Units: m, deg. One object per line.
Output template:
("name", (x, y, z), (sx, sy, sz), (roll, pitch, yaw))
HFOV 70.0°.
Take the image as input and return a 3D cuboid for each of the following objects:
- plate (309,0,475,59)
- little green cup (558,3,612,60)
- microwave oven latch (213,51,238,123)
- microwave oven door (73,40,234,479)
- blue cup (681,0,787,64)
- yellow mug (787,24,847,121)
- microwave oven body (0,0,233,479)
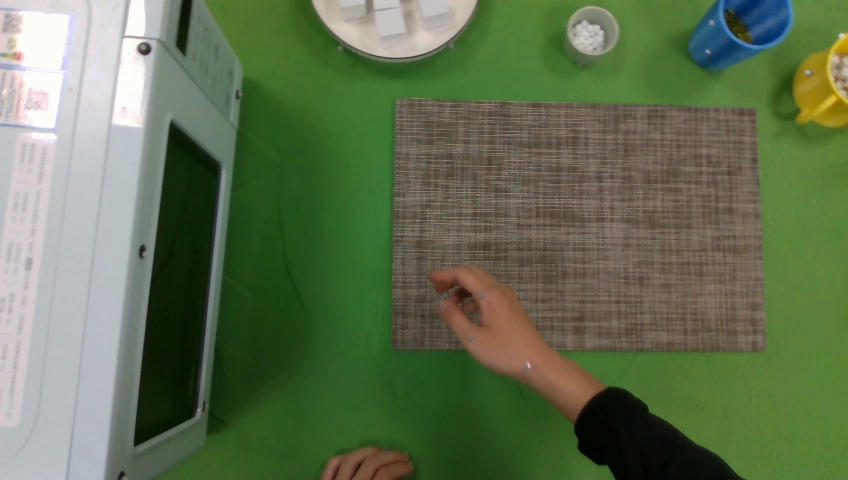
("plate", (-0.039, -0.315, 0.732), (0.208, 0.039, 0.207), (0, 84, -3))
("little green cup", (0.194, -0.252, 0.739), (0.061, 0.038, 0.061), (0, 84, -3))
("microwave oven latch", (-0.230, -0.175, 0.689), (0.030, 0.029, 0.079), (5, 85, -3))
("microwave oven door", (-0.240, 0.032, 0.567), (0.039, 0.244, 0.355), (3, 84, -2))
("blue cup", (0.356, -0.254, 0.716), (0.093, 0.100, 0.092), (0, 86, -4))
("yellow mug", (0.499, -0.193, 0.735), (0.131, 0.064, 0.100), (-41, 88, -5))
("microwave oven body", (-0.383, -0.019, 0.569), (0.326, 0.260, 0.440), (4, 85, -3))
